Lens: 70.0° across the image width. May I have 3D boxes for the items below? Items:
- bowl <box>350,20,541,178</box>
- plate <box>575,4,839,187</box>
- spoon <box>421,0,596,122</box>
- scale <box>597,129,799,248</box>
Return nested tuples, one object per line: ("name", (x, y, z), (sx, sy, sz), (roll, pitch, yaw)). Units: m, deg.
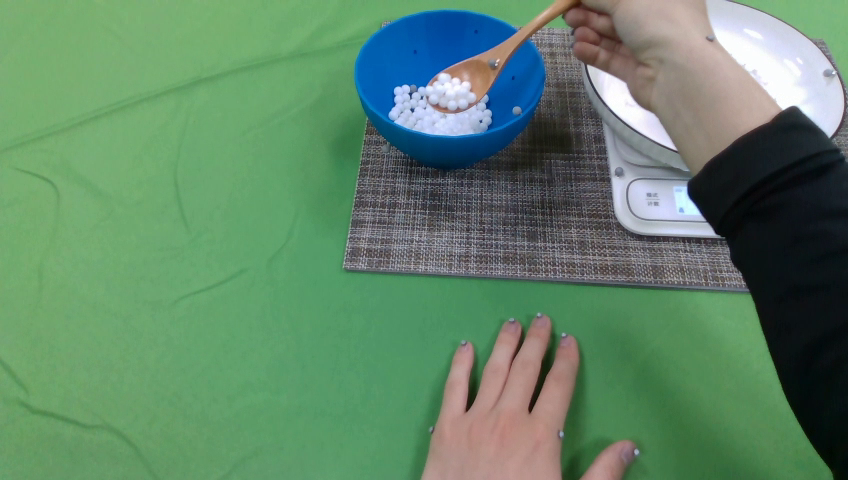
("bowl", (0.017, -0.105, 0.505), (0.151, 0.077, 0.150), (0, 55, 0))
("plate", (0.228, -0.121, 0.506), (0.209, 0.038, 0.207), (1, 55, -1))
("spoon", (0.081, -0.150, 0.452), (0.194, 0.022, 0.041), (-35, 65, 11))
("scale", (0.226, -0.083, 0.520), (0.148, 0.032, 0.199), (2, 55, 1))
